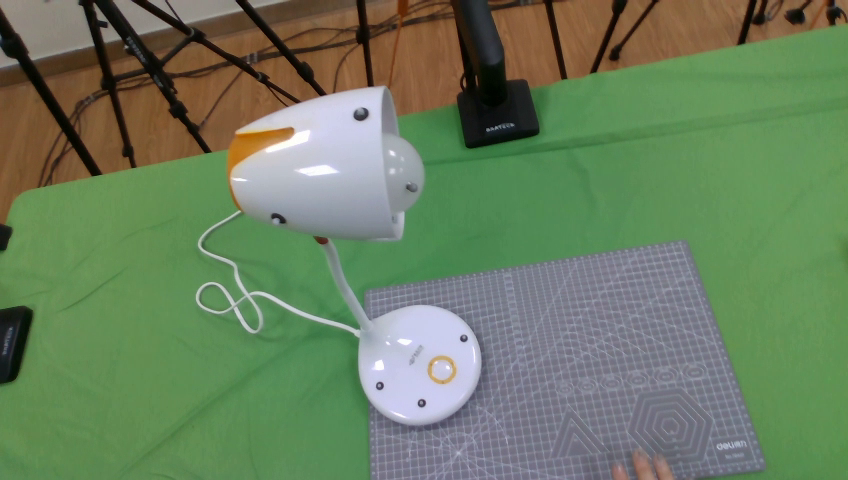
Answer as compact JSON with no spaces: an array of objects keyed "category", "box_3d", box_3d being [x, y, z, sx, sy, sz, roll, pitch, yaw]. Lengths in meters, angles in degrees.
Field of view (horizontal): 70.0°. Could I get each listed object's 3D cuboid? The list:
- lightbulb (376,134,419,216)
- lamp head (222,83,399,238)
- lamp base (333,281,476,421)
[{"category":"lightbulb","box_3d":[-0.057,-0.042,0.438,0.107,0.060,0.059,-8,59,8]},{"category":"lamp head","box_3d":[-0.080,-0.051,0.445,0.123,0.113,0.111,-6,60,9]},{"category":"lamp base","box_3d":[-0.037,0.113,0.723,0.178,0.182,0.160,13,63,21]}]
